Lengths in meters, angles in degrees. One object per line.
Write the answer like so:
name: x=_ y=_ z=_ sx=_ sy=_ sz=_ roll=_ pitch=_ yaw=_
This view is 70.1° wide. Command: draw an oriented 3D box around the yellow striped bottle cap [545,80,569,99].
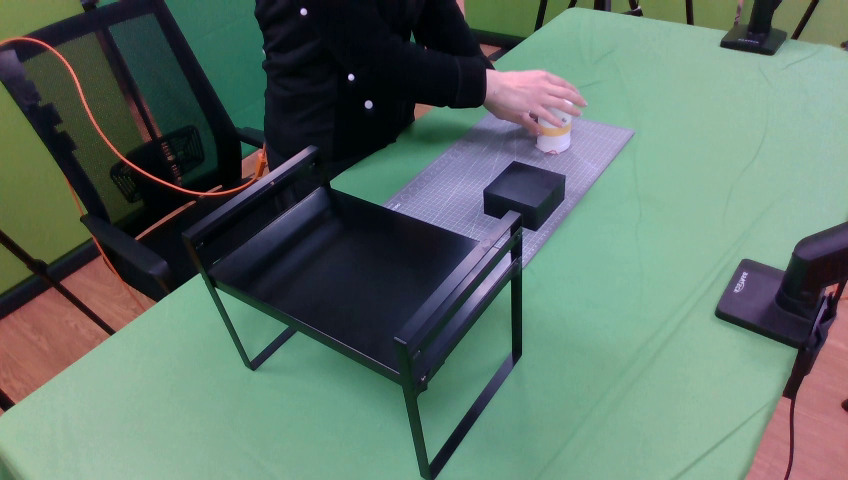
yellow striped bottle cap: x=0.240 y=-0.272 z=1.091 sx=0.044 sy=0.019 sz=0.044 roll=-5 pitch=38 yaw=5

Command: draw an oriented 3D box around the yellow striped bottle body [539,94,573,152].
yellow striped bottle body: x=0.245 y=-0.230 z=1.127 sx=0.063 sy=0.121 sz=0.062 roll=-5 pitch=41 yaw=5
